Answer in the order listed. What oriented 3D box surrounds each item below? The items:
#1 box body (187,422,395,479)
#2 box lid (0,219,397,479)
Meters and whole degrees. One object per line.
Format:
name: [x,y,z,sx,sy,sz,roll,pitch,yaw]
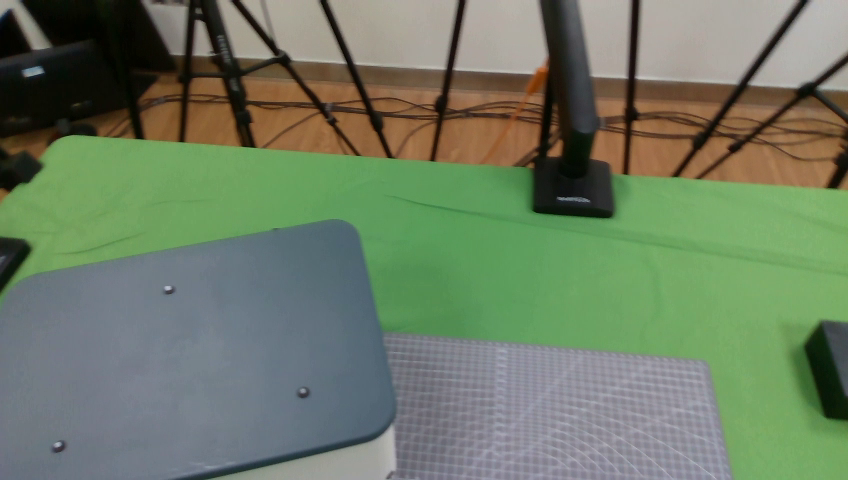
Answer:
box body: [-0.222,0.150,0.630,0.364,0.162,0.251,-11,49,-8]
box lid: [-0.223,0.100,0.574,0.372,0.015,0.260,-10,49,-8]
